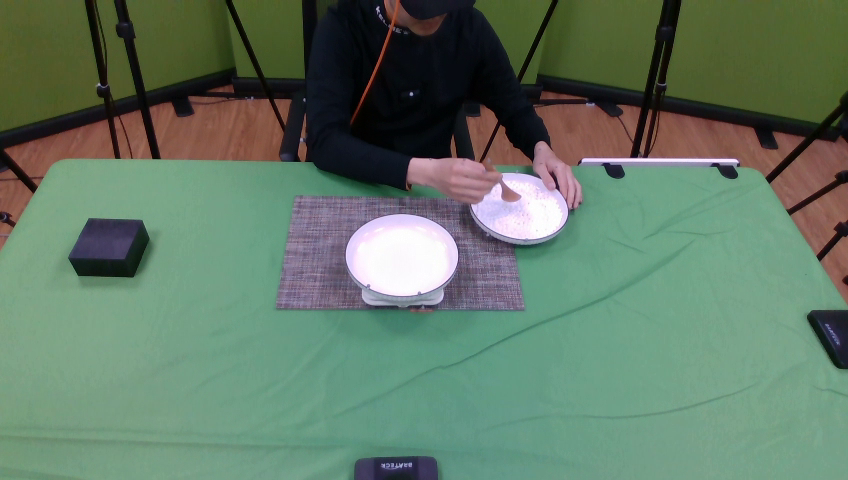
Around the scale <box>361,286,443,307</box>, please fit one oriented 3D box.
[{"bbox_3d":[-0.042,0.040,1.143,0.149,0.032,0.199,0,46,-4],"label":"scale"}]

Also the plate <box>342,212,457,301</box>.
[{"bbox_3d":[-0.044,0.033,1.105,0.208,0.039,0.206,2,46,-2],"label":"plate"}]

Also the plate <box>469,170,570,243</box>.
[{"bbox_3d":[0.196,-0.066,1.258,0.209,0.038,0.208,3,46,-2],"label":"plate"}]

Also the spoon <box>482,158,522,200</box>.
[{"bbox_3d":[0.148,-0.118,1.182,0.041,0.195,0.021,-8,65,25],"label":"spoon"}]
